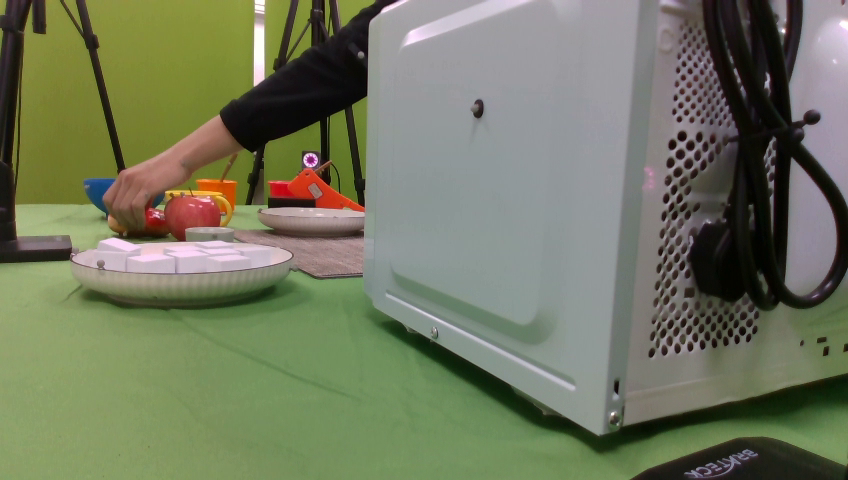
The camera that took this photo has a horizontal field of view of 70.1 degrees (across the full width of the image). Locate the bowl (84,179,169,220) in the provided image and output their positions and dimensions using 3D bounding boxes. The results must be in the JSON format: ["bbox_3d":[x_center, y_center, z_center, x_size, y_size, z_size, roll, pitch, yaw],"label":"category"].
[{"bbox_3d":[-0.584,-0.078,1.194,0.151,0.077,0.151,3,8,0],"label":"bowl"}]

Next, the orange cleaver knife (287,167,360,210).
[{"bbox_3d":[-0.209,-0.089,1.383,0.212,0.077,0.012,31,4,-15],"label":"orange cleaver knife"}]

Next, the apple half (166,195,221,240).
[{"bbox_3d":[-0.352,-0.031,0.935,0.081,0.074,0.053,1,11,-40],"label":"apple half"}]

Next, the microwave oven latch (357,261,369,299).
[{"bbox_3d":[-0.019,0.034,0.529,0.079,0.029,0.030,0,7,-24],"label":"microwave oven latch"}]

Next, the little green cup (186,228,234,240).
[{"bbox_3d":[-0.284,0.005,0.805,0.061,0.038,0.061,2,8,0],"label":"little green cup"}]

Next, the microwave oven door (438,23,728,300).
[{"bbox_3d":[0.181,-0.072,0.621,0.358,0.243,0.039,-2,8,-29],"label":"microwave oven door"}]

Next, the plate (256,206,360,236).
[{"bbox_3d":[-0.202,-0.036,1.120,0.209,0.038,0.209,2,8,0],"label":"plate"}]

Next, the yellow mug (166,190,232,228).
[{"bbox_3d":[-0.415,-0.057,1.131,0.130,0.064,0.100,6,8,17],"label":"yellow mug"}]

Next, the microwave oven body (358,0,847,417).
[{"bbox_3d":[0.211,-0.047,0.474,0.444,0.260,0.324,-1,7,-28],"label":"microwave oven body"}]

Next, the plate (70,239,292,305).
[{"bbox_3d":[-0.242,0.031,0.618,0.208,0.039,0.207,2,8,0],"label":"plate"}]

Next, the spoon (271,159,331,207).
[{"bbox_3d":[-0.308,-0.141,1.513,0.193,0.021,0.041,-42,-2,8],"label":"spoon"}]

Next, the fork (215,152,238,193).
[{"bbox_3d":[-0.455,-0.132,1.366,0.028,0.018,0.207,-2,-35,-37],"label":"fork"}]

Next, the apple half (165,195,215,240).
[{"bbox_3d":[-0.377,-0.037,0.964,0.082,0.081,0.032,-4,14,-40],"label":"apple half"}]

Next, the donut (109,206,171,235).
[{"bbox_3d":[-0.454,-0.031,0.976,0.099,0.048,0.099,5,2,0],"label":"donut"}]
